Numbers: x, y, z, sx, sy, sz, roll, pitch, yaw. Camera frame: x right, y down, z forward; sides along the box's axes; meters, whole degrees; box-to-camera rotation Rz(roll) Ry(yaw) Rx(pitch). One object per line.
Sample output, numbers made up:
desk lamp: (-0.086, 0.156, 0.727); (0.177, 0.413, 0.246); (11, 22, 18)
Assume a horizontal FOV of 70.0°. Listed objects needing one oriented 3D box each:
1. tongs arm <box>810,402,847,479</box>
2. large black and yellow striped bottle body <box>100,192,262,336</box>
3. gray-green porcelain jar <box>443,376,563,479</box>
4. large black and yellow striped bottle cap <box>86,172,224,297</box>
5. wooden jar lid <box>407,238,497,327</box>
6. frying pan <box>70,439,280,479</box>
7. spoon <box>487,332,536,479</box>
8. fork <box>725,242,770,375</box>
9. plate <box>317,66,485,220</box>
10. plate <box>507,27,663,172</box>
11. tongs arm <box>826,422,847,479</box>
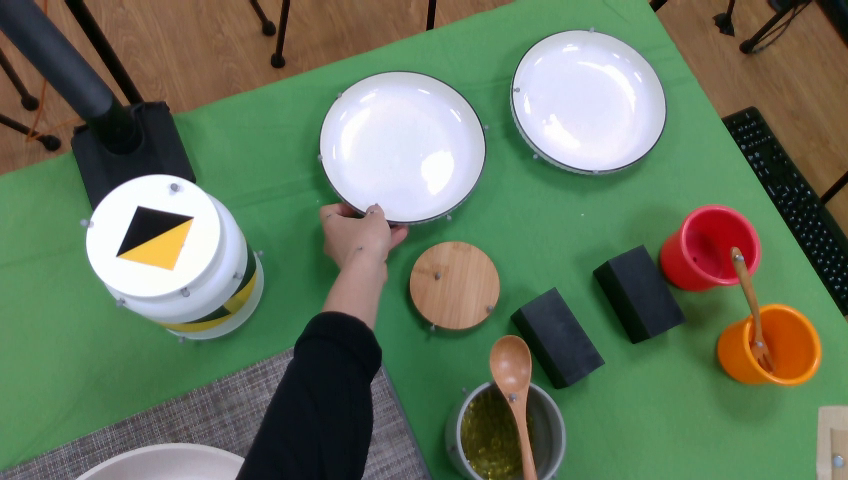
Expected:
tongs arm: (0.303, 0.302, 0.451); (0.027, 0.028, 0.388); (-5, 100, 11)
large black and yellow striped bottle body: (-0.247, 0.021, 0.621); (0.131, 0.185, 0.130); (2, 72, -5)
gray-green porcelain jar: (0.075, 0.197, 0.628); (0.106, 0.127, 0.105); (2, 72, -5)
large black and yellow striped bottle cap: (-0.239, -0.006, 0.541); (0.115, 0.019, 0.114); (2, 74, -5)
wooden jar lid: (0.033, 0.051, 0.725); (0.108, 0.021, 0.108); (2, 74, -5)
frying pan: (-0.269, 0.430, 0.532); (0.307, 0.103, 0.485); (17, 64, 1)
spoon: (0.090, 0.182, 0.561); (0.042, 0.022, 0.192); (-5, 77, -11)
fork: (0.364, 0.080, 0.679); (0.028, 0.018, 0.209); (-35, 123, -6)
plate: (-0.029, -0.119, 0.761); (0.208, 0.039, 0.206); (2, 73, -5)
plate: (0.210, -0.184, 0.803); (0.209, 0.038, 0.208); (2, 73, -5)
tongs arm: (0.298, 0.306, 0.430); (0.026, 0.051, 0.385); (-4, 96, 14)
